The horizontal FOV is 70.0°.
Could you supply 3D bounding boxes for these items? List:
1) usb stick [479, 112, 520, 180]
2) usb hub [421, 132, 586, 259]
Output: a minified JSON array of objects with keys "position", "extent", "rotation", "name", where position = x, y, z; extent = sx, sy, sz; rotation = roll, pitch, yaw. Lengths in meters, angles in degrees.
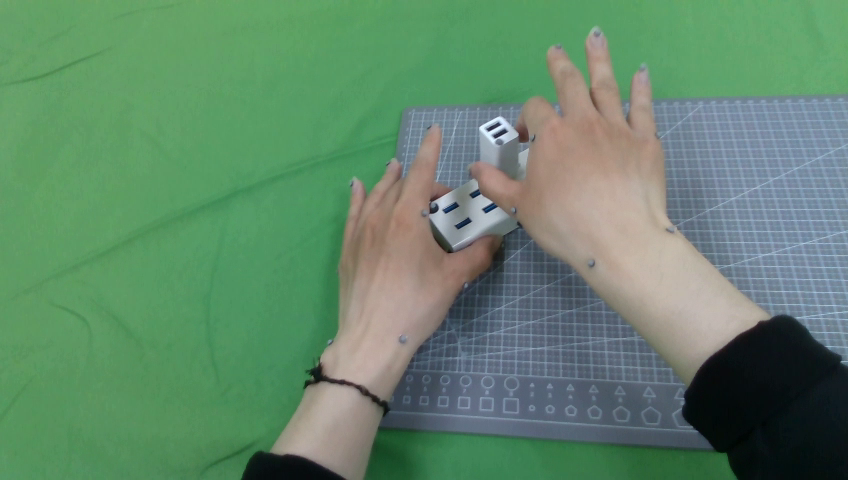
[{"position":[0.058,-0.066,0.461],"extent":[0.021,0.060,0.027],"rotation":[-30,56,-10],"name":"usb stick"},{"position":[0.062,-0.037,0.474],"extent":[0.125,0.025,0.049],"rotation":[-30,52,-10],"name":"usb hub"}]
